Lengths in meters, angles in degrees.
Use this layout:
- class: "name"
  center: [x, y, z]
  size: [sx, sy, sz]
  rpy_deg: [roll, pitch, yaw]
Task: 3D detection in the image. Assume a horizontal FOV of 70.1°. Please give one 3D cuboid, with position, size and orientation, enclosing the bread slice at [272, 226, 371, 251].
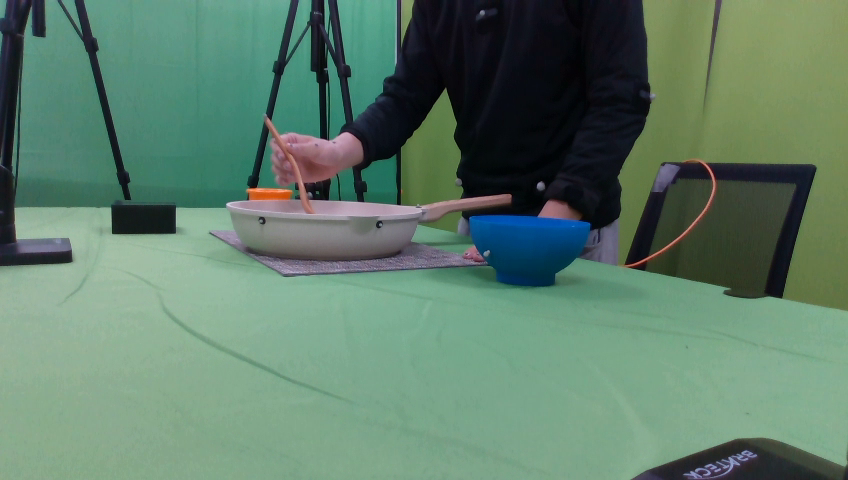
- class: "bread slice"
  center: [-0.148, -0.003, 0.929]
  size: [0.133, 0.018, 0.107]
  rpy_deg: [9, 11, 37]

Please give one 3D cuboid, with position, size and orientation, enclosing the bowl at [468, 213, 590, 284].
- class: "bowl"
  center: [0.128, 0.011, 0.755]
  size: [0.151, 0.077, 0.151]
  rpy_deg: [2, 7, 0]

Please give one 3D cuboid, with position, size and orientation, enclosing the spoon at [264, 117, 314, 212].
- class: "spoon"
  center: [-0.195, -0.104, 0.914]
  size: [0.021, 0.193, 0.041]
  rpy_deg: [-26, -7, 0]

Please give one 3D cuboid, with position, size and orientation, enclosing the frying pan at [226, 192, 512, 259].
- class: "frying pan"
  center: [-0.058, -0.041, 0.974]
  size: [0.490, 0.102, 0.305]
  rpy_deg: [-11, 13, -26]
